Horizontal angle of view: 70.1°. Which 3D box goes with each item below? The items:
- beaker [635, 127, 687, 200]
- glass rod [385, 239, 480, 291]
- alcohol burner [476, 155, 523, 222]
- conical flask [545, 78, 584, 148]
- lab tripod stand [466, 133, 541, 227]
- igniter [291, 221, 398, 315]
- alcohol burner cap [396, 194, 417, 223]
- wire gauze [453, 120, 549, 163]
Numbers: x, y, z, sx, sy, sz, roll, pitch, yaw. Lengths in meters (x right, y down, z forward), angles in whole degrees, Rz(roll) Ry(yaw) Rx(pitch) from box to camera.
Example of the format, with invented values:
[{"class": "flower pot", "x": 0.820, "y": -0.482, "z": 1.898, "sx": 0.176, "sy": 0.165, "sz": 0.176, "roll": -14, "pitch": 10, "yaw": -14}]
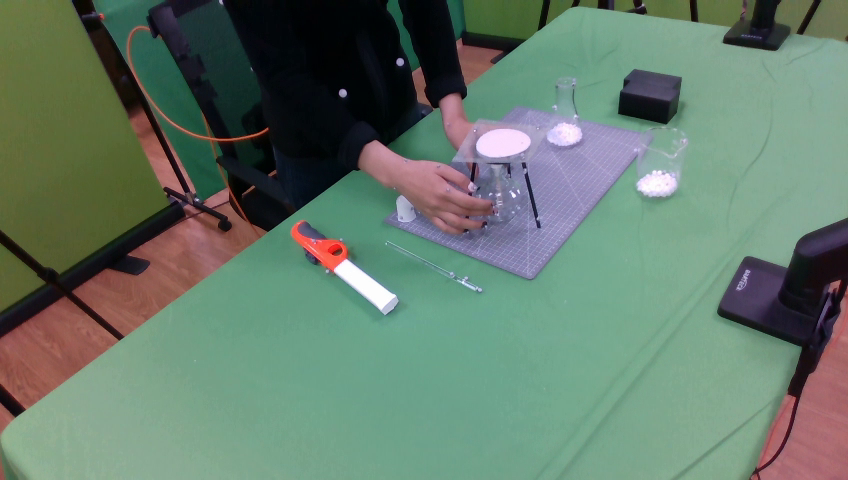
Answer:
[{"class": "beaker", "x": 0.388, "y": -0.122, "z": 0.994, "sx": 0.074, "sy": 0.101, "sz": 0.083, "roll": -8, "pitch": 40, "yaw": 2}, {"class": "glass rod", "x": 0.009, "y": 0.036, "z": 0.949, "sx": 0.198, "sy": 0.008, "sz": 0.008, "roll": 27, "pitch": 52, "yaw": 34}, {"class": "alcohol burner", "x": 0.123, "y": -0.089, "z": 0.990, "sx": 0.078, "sy": 0.120, "sz": 0.077, "roll": -6, "pitch": 41, "yaw": 6}, {"class": "conical flask", "x": 0.264, "y": -0.241, "z": 1.135, "sx": 0.075, "sy": 0.122, "sz": 0.075, "roll": -6, "pitch": 40, "yaw": 5}, {"class": "lab tripod stand", "x": 0.129, "y": -0.099, "z": 0.985, "sx": 0.148, "sy": 0.132, "sz": 0.147, "roll": -6, "pitch": 38, "yaw": 6}, {"class": "igniter", "x": -0.136, "y": 0.037, "z": 0.962, "sx": 0.057, "sy": 0.025, "sz": 0.274, "roll": -41, "pitch": 48, "yaw": -18}, {"class": "alcohol burner cap", "x": -0.032, "y": -0.056, "z": 1.036, "sx": 0.034, "sy": 0.048, "sz": 0.033, "roll": -6, "pitch": 40, "yaw": 6}, {"class": "wire gauze", "x": 0.121, "y": -0.153, "z": 0.946, "sx": 0.121, "sy": 0.011, "sz": 0.125, "roll": 9, "pitch": 42, "yaw": 22}]
